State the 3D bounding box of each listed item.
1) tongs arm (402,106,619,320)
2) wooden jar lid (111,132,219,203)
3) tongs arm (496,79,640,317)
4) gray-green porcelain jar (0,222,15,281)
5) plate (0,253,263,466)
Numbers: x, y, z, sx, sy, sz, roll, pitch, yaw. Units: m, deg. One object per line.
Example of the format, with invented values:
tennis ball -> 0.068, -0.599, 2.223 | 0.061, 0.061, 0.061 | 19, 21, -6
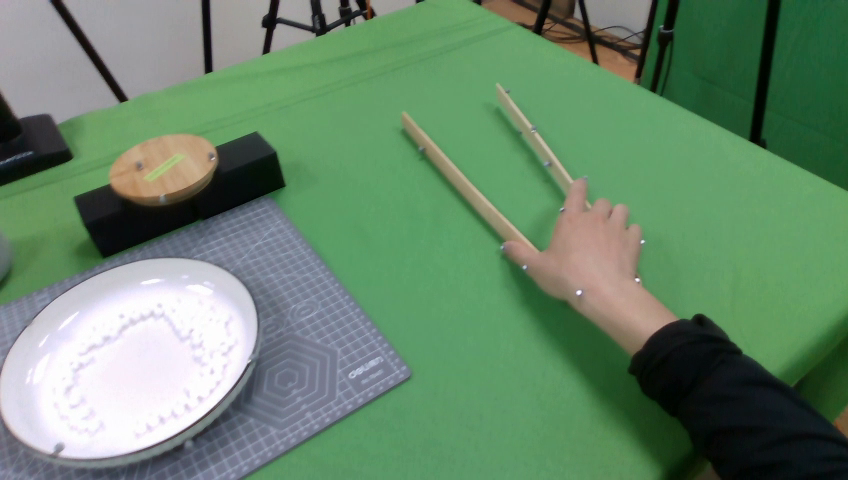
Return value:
tongs arm -> 0.069, -0.048, 0.659 | 0.028, 0.028, 0.383 | -21, 48, -21
wooden jar lid -> -0.269, -0.076, 0.638 | 0.108, 0.021, 0.107 | 0, 45, 1
tongs arm -> 0.137, -0.071, 0.674 | 0.051, 0.027, 0.380 | -15, 47, -11
gray-green porcelain jar -> -0.467, -0.007, 0.572 | 0.106, 0.127, 0.105 | -2, 44, 2
plate -> -0.240, 0.096, 0.516 | 0.209, 0.038, 0.207 | -1, 45, 2
